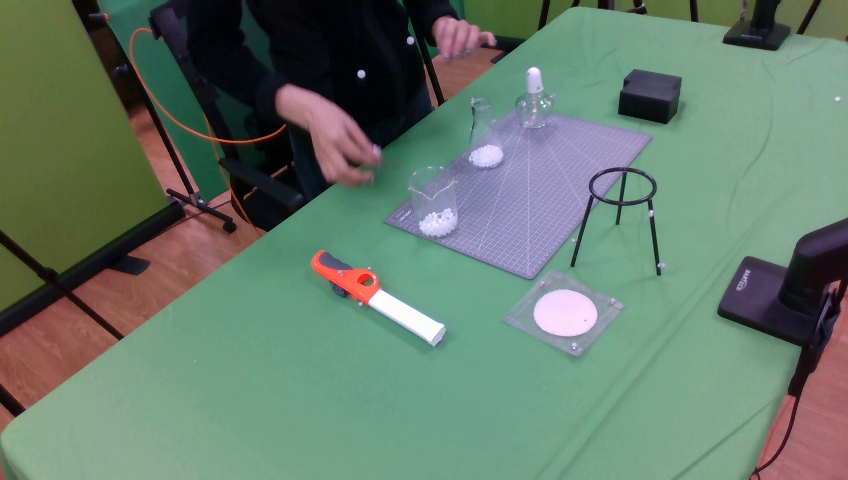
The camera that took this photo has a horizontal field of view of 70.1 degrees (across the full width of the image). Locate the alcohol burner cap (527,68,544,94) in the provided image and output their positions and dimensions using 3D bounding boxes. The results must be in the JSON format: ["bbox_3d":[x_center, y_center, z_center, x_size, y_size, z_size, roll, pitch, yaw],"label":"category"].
[{"bbox_3d":[0.216,-0.312,1.179,0.034,0.048,0.033,-9,40,8],"label":"alcohol burner cap"}]

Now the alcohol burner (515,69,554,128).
[{"bbox_3d":[0.221,-0.285,1.203,0.078,0.119,0.077,-4,39,4],"label":"alcohol burner"}]

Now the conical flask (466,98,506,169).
[{"bbox_3d":[0.111,-0.199,1.116,0.075,0.122,0.075,-5,40,5],"label":"conical flask"}]

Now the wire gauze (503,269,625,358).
[{"bbox_3d":[0.194,0.100,0.840,0.120,0.011,0.125,27,54,36],"label":"wire gauze"}]

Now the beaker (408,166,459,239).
[{"bbox_3d":[0.018,-0.058,0.984,0.074,0.101,0.083,-6,41,6],"label":"beaker"}]

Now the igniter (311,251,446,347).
[{"bbox_3d":[-0.078,0.081,0.899,0.274,0.025,0.057,27,62,35],"label":"igniter"}]

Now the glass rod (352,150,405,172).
[{"bbox_3d":[-0.077,-0.129,0.963,0.008,0.008,0.198,-27,27,-19],"label":"glass rod"}]

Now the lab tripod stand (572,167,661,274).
[{"bbox_3d":[0.283,-0.030,0.879,0.148,0.132,0.147,-7,38,6],"label":"lab tripod stand"}]
